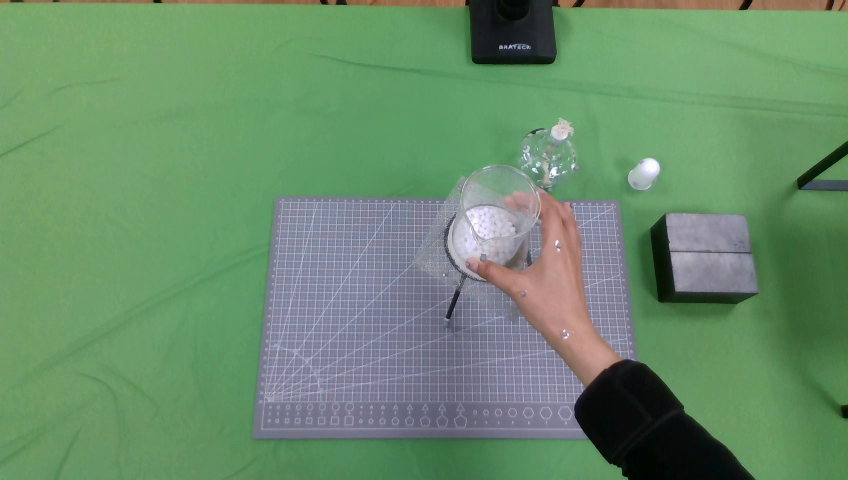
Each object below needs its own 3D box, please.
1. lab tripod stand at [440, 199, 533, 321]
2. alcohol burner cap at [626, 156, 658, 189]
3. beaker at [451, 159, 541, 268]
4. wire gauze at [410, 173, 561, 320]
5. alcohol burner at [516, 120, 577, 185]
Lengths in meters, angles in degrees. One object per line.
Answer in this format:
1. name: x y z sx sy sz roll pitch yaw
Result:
1. lab tripod stand: 0.065 0.018 0.695 0.148 0.132 0.147 1 69 -3
2. alcohol burner cap: 0.288 -0.091 0.793 0.034 0.048 0.033 0 70 0
3. beaker: 0.063 -0.018 0.583 0.074 0.101 0.083 26 70 6
4. wire gauze: 0.065 0.002 0.630 0.125 0.011 0.121 28 71 7
5. alcohol burner: 0.157 -0.117 0.759 0.078 0.120 0.077 1 70 -3
